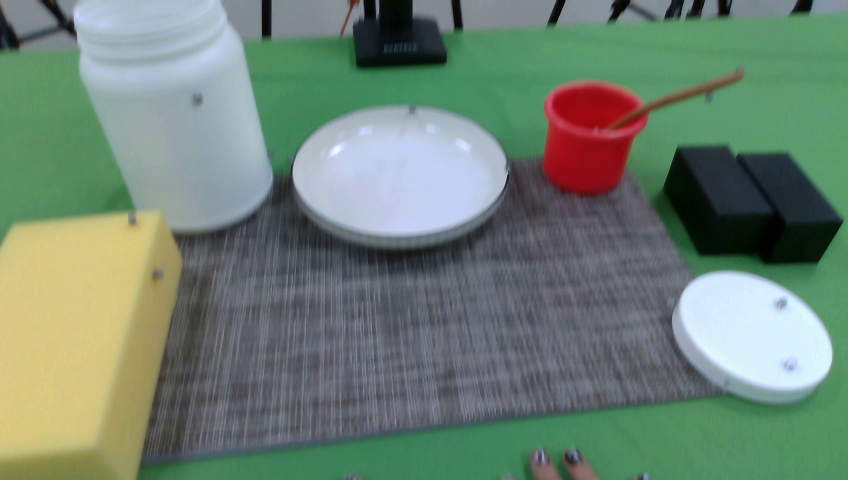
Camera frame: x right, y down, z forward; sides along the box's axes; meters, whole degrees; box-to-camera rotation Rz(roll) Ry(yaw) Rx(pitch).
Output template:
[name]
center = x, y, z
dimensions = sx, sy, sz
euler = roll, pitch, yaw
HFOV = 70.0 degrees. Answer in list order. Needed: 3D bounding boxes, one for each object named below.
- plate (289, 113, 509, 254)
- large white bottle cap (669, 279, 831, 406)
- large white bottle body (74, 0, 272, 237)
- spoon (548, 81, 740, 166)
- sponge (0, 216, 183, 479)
[plate]
center = -0.023, -0.055, 0.590
dimensions = 0.209, 0.038, 0.207
euler = 1, 43, -1
[large white bottle cap]
center = 0.252, 0.076, 0.472
dimensions = 0.115, 0.018, 0.113
euler = 2, 43, -2
[large white bottle body]
center = -0.216, -0.110, 0.536
dimensions = 0.130, 0.186, 0.129
euler = -1, 41, 1
[spoon]
center = 0.199, -0.108, 0.575
dimensions = 0.022, 0.193, 0.041
euler = 52, 48, -13
[sponge]
center = -0.254, 0.074, 0.431
dimensions = 0.118, 0.061, 0.204
euler = -6, 43, -5
